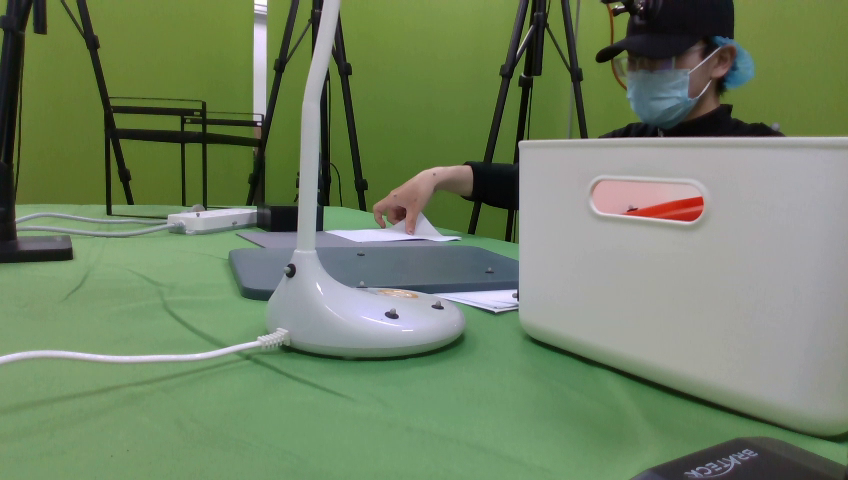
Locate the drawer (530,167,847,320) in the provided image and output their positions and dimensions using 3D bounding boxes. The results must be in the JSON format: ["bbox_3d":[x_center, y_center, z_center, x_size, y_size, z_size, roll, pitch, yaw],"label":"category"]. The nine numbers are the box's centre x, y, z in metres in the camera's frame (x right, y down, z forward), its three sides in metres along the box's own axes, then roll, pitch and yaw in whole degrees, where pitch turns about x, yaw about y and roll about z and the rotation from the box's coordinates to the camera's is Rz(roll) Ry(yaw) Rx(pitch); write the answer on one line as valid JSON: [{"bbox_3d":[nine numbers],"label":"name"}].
[{"bbox_3d":[0.225,0.003,0.468,0.213,0.073,0.193,-14,2,-36],"label":"drawer"}]

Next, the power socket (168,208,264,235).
[{"bbox_3d":[-0.381,-0.038,1.129,0.072,0.032,0.227,4,8,17],"label":"power socket"}]

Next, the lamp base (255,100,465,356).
[{"bbox_3d":[-0.051,-0.014,0.466,0.160,0.180,0.180,7,11,33],"label":"lamp base"}]

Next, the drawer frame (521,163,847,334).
[{"bbox_3d":[0.224,0.002,0.465,0.215,0.082,0.200,-14,2,-36],"label":"drawer frame"}]

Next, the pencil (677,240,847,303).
[{"bbox_3d":[0.248,0.018,0.464,0.012,0.012,0.193,1,10,-9],"label":"pencil"}]

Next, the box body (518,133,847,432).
[{"bbox_3d":[0.278,0.005,0.486,0.366,0.160,0.253,-3,9,-36],"label":"box body"}]

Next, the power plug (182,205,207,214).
[{"bbox_3d":[-0.456,-0.041,1.195,0.052,0.035,0.072,0,39,24],"label":"power plug"}]

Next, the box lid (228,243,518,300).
[{"bbox_3d":[-0.044,0.033,0.757,0.373,0.015,0.262,-1,9,-22],"label":"box lid"}]

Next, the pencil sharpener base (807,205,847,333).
[{"bbox_3d":[0.385,0.026,0.519,0.062,0.107,0.076,-5,11,-43],"label":"pencil sharpener base"}]

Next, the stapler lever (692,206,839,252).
[{"bbox_3d":[0.266,-0.011,0.486,0.027,0.040,0.117,-15,2,-19],"label":"stapler lever"}]

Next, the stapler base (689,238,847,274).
[{"bbox_3d":[0.270,0.013,0.488,0.041,0.024,0.130,-15,3,-19],"label":"stapler base"}]
